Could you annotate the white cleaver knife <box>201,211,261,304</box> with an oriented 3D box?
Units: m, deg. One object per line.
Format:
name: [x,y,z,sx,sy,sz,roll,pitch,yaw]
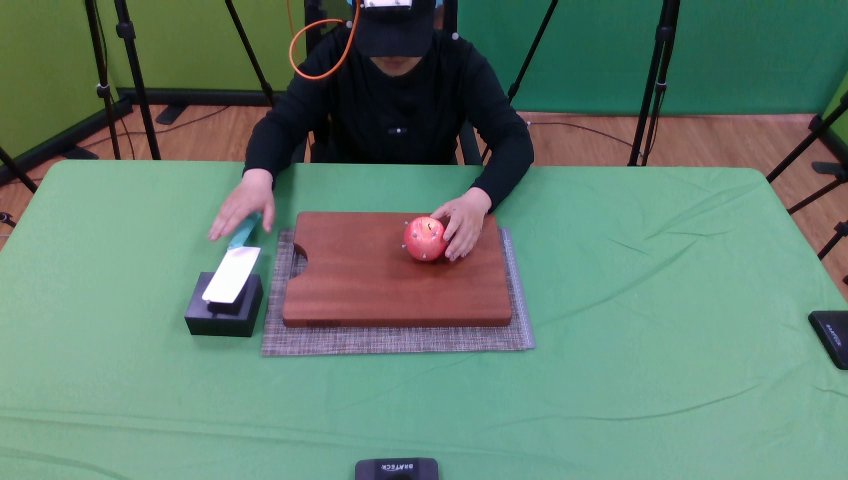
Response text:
white cleaver knife: [-0.336,0.029,1.110,0.066,0.021,0.285,6,34,-3]

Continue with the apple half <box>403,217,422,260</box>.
apple half: [-0.022,-0.001,1.121,0.033,0.081,0.081,3,46,-7]

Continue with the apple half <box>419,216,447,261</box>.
apple half: [0.016,0.000,1.125,0.053,0.075,0.080,3,44,-6]
